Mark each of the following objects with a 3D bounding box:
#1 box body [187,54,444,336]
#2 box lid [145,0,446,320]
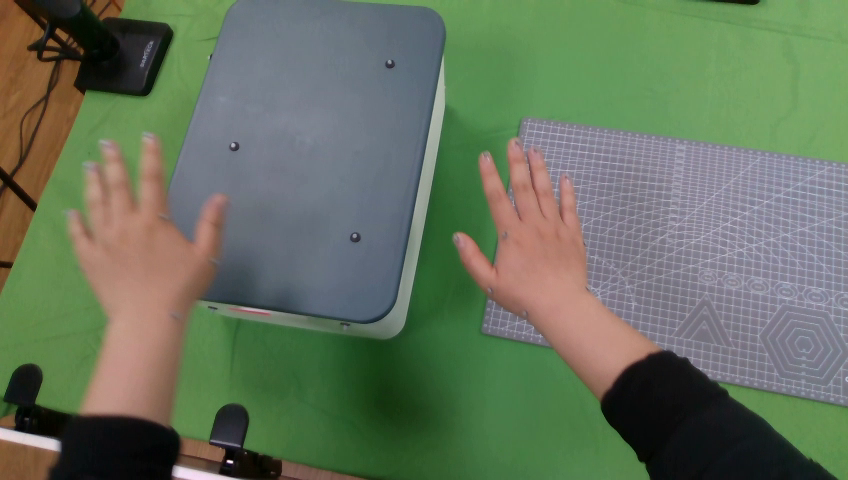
[{"bbox_3d":[-0.123,-0.082,0.717,0.254,0.161,0.362,7,72,7],"label":"box body"},{"bbox_3d":[-0.129,-0.109,0.647,0.263,0.015,0.369,7,73,7],"label":"box lid"}]
